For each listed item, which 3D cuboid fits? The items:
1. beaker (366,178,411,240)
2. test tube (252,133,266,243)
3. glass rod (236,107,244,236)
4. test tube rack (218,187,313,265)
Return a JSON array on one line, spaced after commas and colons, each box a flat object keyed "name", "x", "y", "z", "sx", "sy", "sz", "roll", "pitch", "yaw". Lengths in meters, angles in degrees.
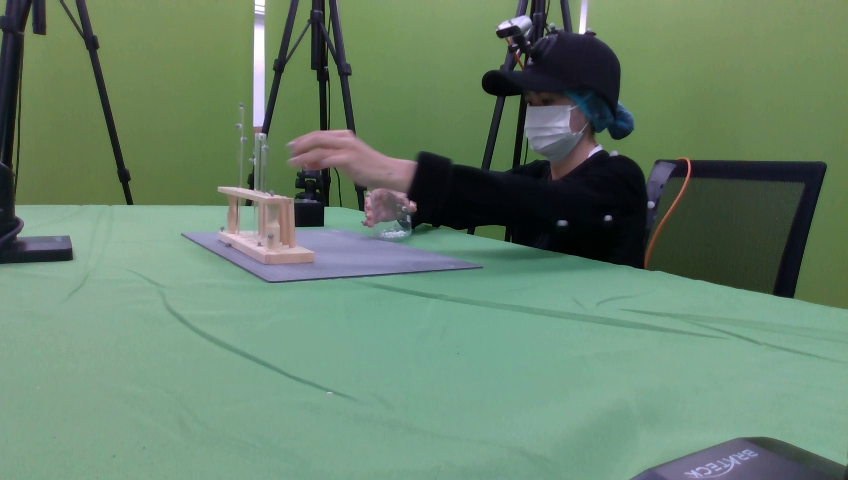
[{"name": "beaker", "x": -0.058, "y": -0.055, "z": 1.061, "sx": 0.074, "sy": 0.100, "sz": 0.083, "roll": -11, "pitch": 16, "yaw": -31}, {"name": "test tube", "x": -0.225, "y": -0.070, "z": 0.826, "sx": 0.017, "sy": 0.150, "sz": 0.017, "roll": 2, "pitch": 2, "yaw": 0}, {"name": "glass rod", "x": -0.282, "y": -0.103, "z": 0.924, "sx": 0.008, "sy": 0.199, "sz": 0.008, "roll": 2, "pitch": 2, "yaw": 0}, {"name": "test tube rack", "x": -0.235, "y": -0.027, "z": 0.872, "sx": 0.067, "sy": 0.085, "sz": 0.241, "roll": -2, "pitch": 8, "yaw": -32}]
